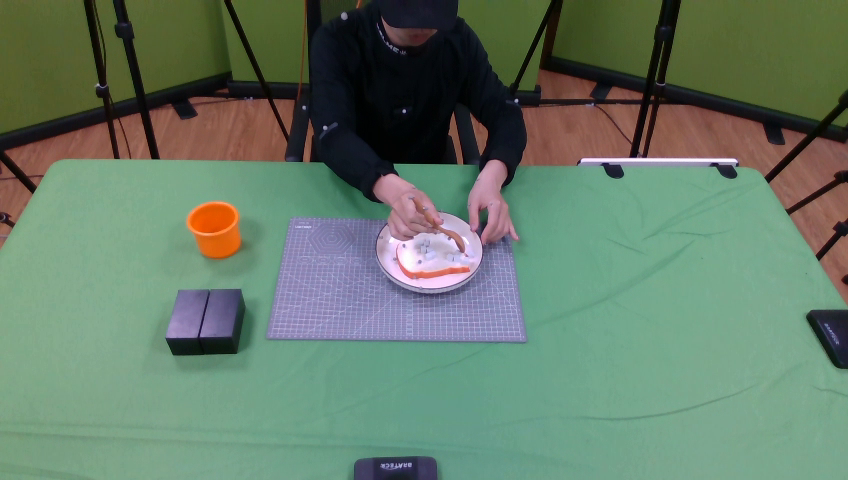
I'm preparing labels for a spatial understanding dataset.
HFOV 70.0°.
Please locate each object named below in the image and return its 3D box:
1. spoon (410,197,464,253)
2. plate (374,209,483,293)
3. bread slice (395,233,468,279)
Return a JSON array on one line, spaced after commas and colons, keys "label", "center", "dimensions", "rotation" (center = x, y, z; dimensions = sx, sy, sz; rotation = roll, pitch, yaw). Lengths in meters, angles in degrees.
[{"label": "spoon", "center": [0.025, -0.025, 1.072], "dimensions": [0.021, 0.195, 0.041], "rotation": [-41, 51, 10]}, {"label": "plate", "center": [0.009, 0.024, 1.160], "dimensions": [0.209, 0.038, 0.208], "rotation": [2, 46, -2]}, {"label": "bread slice", "center": [0.011, 0.030, 1.160], "dimensions": [0.132, 0.019, 0.104], "rotation": [-8, 46, -15]}]
